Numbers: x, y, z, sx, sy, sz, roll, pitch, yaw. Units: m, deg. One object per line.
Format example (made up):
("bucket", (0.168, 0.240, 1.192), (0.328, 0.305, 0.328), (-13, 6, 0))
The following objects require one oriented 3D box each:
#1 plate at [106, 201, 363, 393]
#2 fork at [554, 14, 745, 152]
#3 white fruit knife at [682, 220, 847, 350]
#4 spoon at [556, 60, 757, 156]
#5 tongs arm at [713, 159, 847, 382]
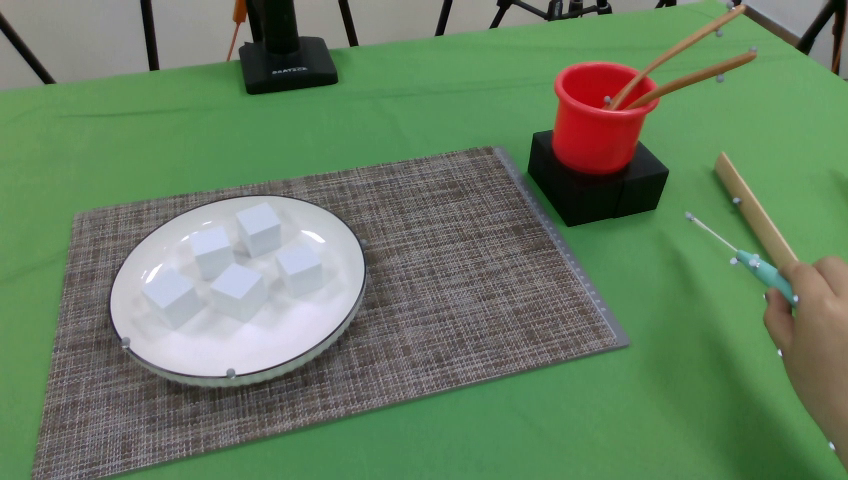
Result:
("plate", (-0.156, 0.046, 0.520), (0.208, 0.039, 0.205), (1, 44, -1))
("fork", (0.215, -0.149, 0.586), (0.207, 0.019, 0.028), (-39, 21, 16))
("white fruit knife", (0.266, 0.024, 0.496), (0.027, 0.016, 0.205), (34, 15, -21))
("spoon", (0.200, -0.116, 0.550), (0.022, 0.193, 0.041), (55, 48, -8))
("tongs arm", (0.349, 0.049, 0.545), (0.028, 0.028, 0.383), (-2, 44, -6))
